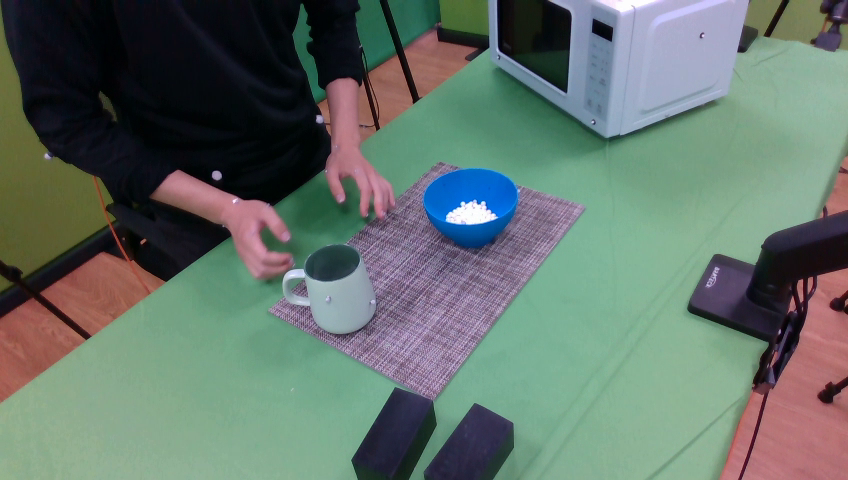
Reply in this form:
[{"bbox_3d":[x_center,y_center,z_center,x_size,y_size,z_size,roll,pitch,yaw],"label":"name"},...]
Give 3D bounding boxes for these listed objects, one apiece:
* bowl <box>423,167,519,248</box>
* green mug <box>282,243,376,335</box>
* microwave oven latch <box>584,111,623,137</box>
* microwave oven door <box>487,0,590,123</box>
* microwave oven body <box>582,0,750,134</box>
[{"bbox_3d":[0.076,-0.041,0.958,0.151,0.077,0.150,-4,40,4],"label":"bowl"},{"bbox_3d":[-0.134,0.069,0.838,0.125,0.105,0.092,-2,41,6],"label":"green mug"},{"bbox_3d":[0.337,-0.222,1.142,0.030,0.029,0.078,-21,42,-14],"label":"microwave oven latch"},{"bbox_3d":[0.232,-0.420,1.230,0.039,0.245,0.352,-22,43,-16],"label":"microwave oven door"},{"bbox_3d":[0.382,-0.445,1.246,0.327,0.261,0.437,-22,42,-16],"label":"microwave oven body"}]
